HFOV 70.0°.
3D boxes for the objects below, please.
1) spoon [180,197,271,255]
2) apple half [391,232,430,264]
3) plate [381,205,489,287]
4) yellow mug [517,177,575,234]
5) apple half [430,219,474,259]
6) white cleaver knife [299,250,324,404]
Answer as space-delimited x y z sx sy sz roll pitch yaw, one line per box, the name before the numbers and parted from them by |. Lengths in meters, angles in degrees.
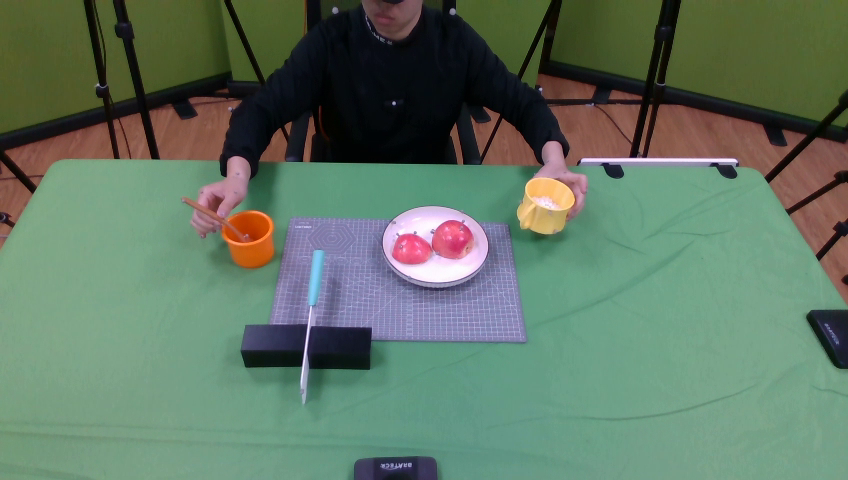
spoon | -0.354 -0.025 1.091 0.021 0.195 0.041 -37 40 12
apple half | -0.024 0.009 1.163 0.081 0.033 0.081 2 43 -2
plate | 0.021 0.015 1.170 0.209 0.038 0.208 2 46 -2
yellow mug | 0.228 -0.063 1.185 0.099 0.064 0.131 37 50 26
apple half | 0.056 -0.008 1.172 0.081 0.053 0.074 -34 59 -31
white cleaver knife | -0.194 0.134 1.019 0.021 0.066 0.284 5 50 -6
